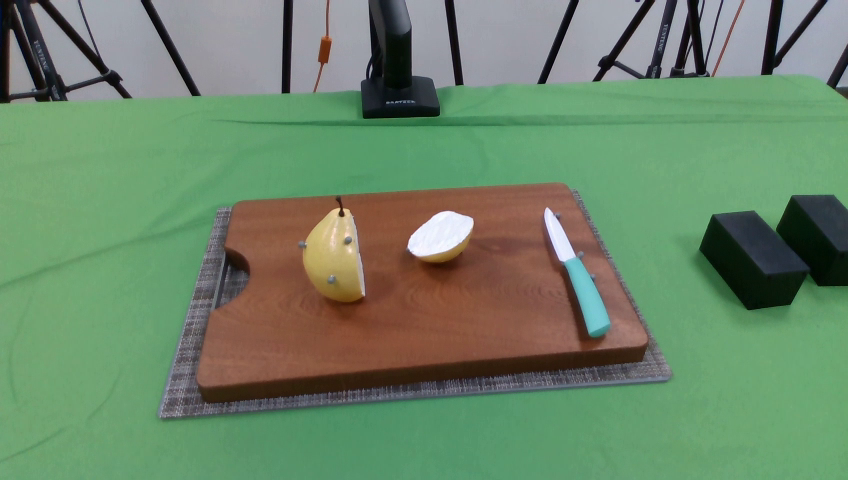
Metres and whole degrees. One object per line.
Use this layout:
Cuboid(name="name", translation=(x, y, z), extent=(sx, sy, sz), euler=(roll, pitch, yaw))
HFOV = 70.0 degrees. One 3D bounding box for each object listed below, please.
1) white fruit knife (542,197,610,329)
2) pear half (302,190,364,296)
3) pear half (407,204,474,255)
Cuboid(name="white fruit knife", translation=(0.150, 0.014, 0.618), extent=(0.027, 0.016, 0.205), euler=(9, 37, -13))
Cuboid(name="pear half", translation=(-0.086, 0.000, 0.560), extent=(0.056, 0.111, 0.075), euler=(-9, 38, -11))
Cuboid(name="pear half", translation=(0.020, -0.007, 0.628), extent=(0.070, 0.031, 0.087), euler=(-8, 25, 13))
